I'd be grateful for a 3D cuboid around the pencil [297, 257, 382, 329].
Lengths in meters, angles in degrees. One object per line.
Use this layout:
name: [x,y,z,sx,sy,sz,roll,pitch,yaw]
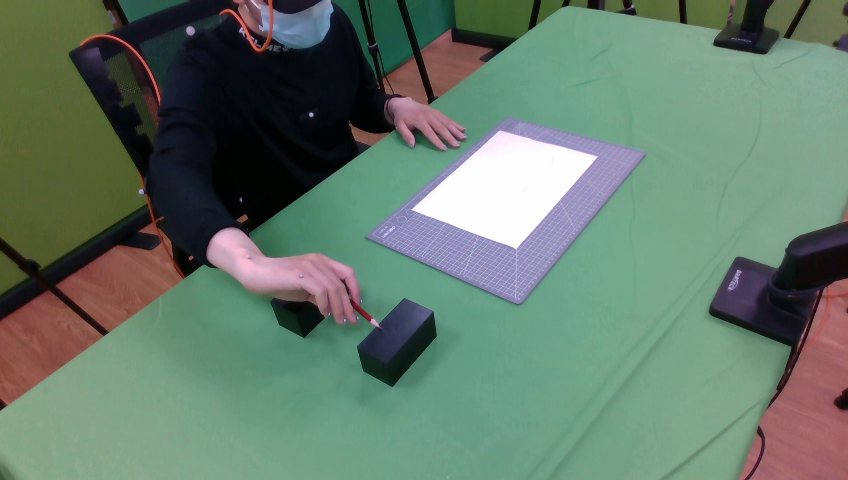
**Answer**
pencil: [-0.120,0.071,0.840,0.012,0.012,0.192,-34,49,-28]
